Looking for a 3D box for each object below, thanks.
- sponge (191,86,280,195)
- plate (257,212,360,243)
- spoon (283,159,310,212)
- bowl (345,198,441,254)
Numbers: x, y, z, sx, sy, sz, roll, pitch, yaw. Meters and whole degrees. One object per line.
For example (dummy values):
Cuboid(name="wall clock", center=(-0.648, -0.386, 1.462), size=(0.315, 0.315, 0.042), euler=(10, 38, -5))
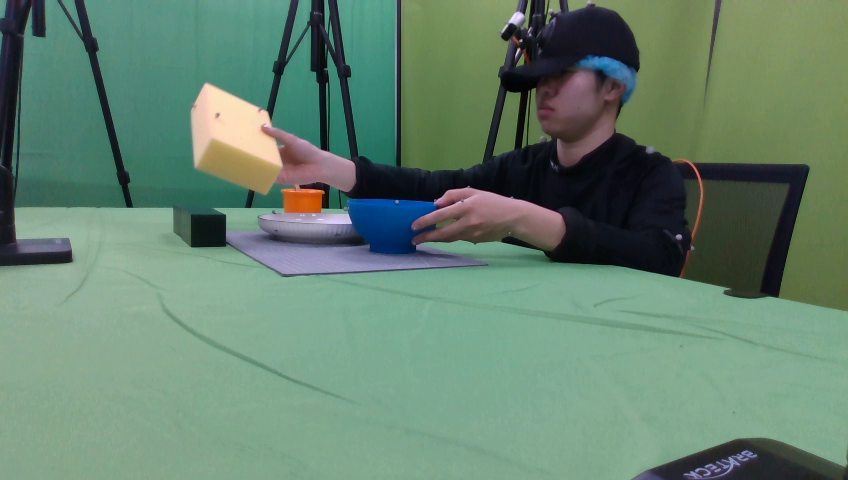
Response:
Cuboid(name="sponge", center=(-0.322, -0.171, 1.022), size=(0.119, 0.061, 0.206), euler=(21, 25, -34))
Cuboid(name="plate", center=(-0.189, -0.023, 1.072), size=(0.209, 0.038, 0.209), euler=(3, 7, 0))
Cuboid(name="spoon", center=(-0.279, -0.111, 1.324), size=(0.042, 0.193, 0.021), euler=(3, -39, -35))
Cuboid(name="bowl", center=(-0.050, -0.022, 0.951), size=(0.151, 0.077, 0.151), euler=(3, 7, 0))
